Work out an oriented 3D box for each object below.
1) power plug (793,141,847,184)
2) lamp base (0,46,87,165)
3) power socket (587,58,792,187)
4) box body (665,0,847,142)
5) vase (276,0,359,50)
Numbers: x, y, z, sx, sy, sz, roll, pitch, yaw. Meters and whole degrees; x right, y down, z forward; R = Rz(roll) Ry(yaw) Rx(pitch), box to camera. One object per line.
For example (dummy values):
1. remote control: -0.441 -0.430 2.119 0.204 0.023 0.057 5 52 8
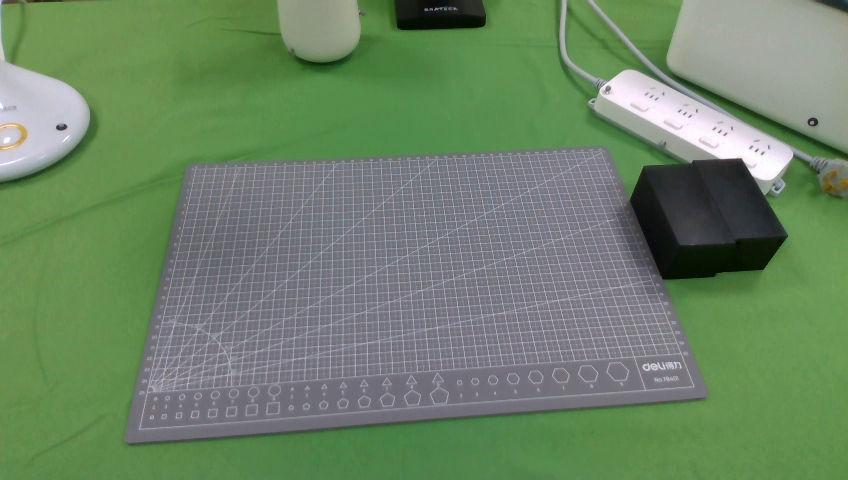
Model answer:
1. power plug: 0.416 -0.078 0.634 0.053 0.035 0.072 -25 25 -31
2. lamp base: -0.452 -0.191 0.590 0.161 0.182 0.177 -29 56 -23
3. power socket: 0.289 -0.134 0.664 0.225 0.033 0.072 38 59 25
4. box body: 0.495 -0.251 0.681 0.361 0.162 0.254 35 59 23
5. vase: -0.128 -0.323 0.694 0.098 0.202 0.097 2 50 -2
